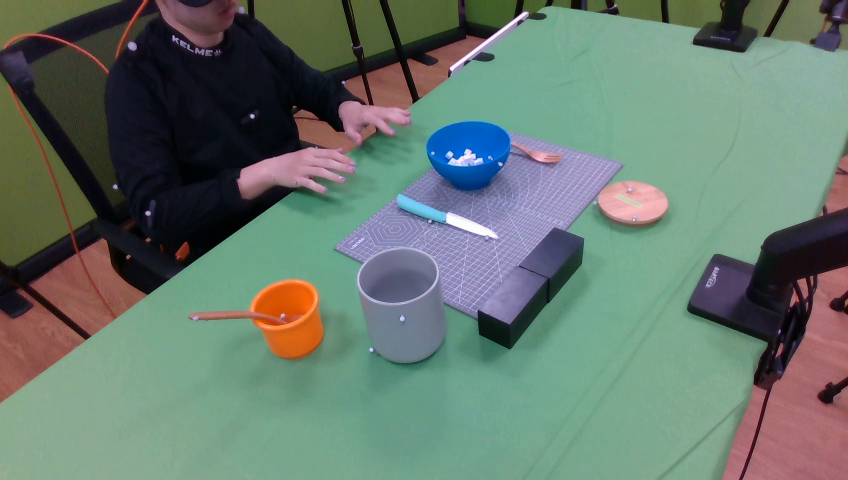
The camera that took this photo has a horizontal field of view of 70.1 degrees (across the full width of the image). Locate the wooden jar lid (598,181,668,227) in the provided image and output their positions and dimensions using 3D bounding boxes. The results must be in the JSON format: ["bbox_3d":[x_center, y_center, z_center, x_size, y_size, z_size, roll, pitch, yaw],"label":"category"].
[{"bbox_3d":[0.340,-0.058,0.988,0.108,0.021,0.108,-5,41,5],"label":"wooden jar lid"}]

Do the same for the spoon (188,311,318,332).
[{"bbox_3d":[-0.216,0.102,0.783,0.041,0.195,0.021,26,95,39],"label":"spoon"}]

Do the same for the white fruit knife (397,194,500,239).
[{"bbox_3d":[0.036,-0.037,1.006,0.206,0.016,0.027,21,62,28],"label":"white fruit knife"}]

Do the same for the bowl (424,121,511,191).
[{"bbox_3d":[0.080,-0.141,1.074,0.151,0.077,0.150,-4,40,4],"label":"bowl"}]

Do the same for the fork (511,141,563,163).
[{"bbox_3d":[0.168,-0.178,1.150,0.206,0.019,0.028,23,56,28],"label":"fork"}]

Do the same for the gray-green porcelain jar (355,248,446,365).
[{"bbox_3d":[-0.027,0.091,0.786,0.106,0.127,0.105,-4,40,4],"label":"gray-green porcelain jar"}]
